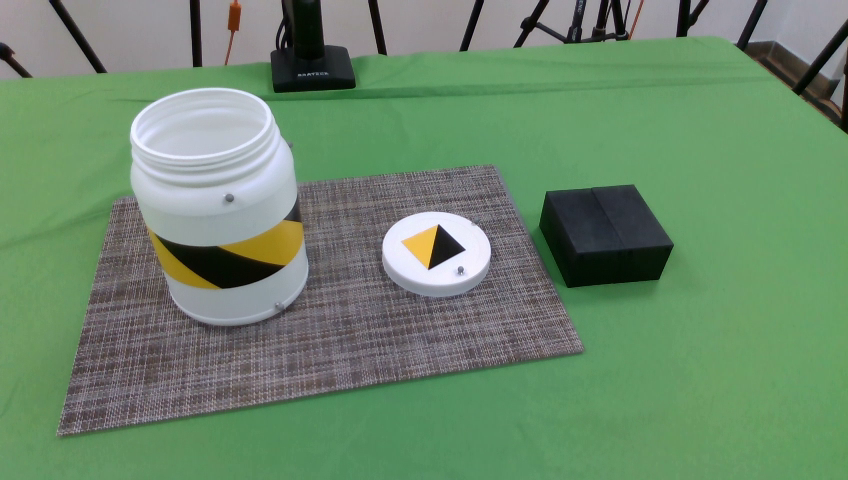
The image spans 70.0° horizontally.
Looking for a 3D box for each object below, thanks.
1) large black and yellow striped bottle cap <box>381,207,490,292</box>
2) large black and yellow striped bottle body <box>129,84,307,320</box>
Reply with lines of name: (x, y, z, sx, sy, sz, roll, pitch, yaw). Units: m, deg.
large black and yellow striped bottle cap: (0.012, 0.007, 0.637, 0.115, 0.019, 0.114, 1, 42, -1)
large black and yellow striped bottle body: (-0.179, -0.032, 0.543, 0.131, 0.185, 0.129, 2, 43, -1)
